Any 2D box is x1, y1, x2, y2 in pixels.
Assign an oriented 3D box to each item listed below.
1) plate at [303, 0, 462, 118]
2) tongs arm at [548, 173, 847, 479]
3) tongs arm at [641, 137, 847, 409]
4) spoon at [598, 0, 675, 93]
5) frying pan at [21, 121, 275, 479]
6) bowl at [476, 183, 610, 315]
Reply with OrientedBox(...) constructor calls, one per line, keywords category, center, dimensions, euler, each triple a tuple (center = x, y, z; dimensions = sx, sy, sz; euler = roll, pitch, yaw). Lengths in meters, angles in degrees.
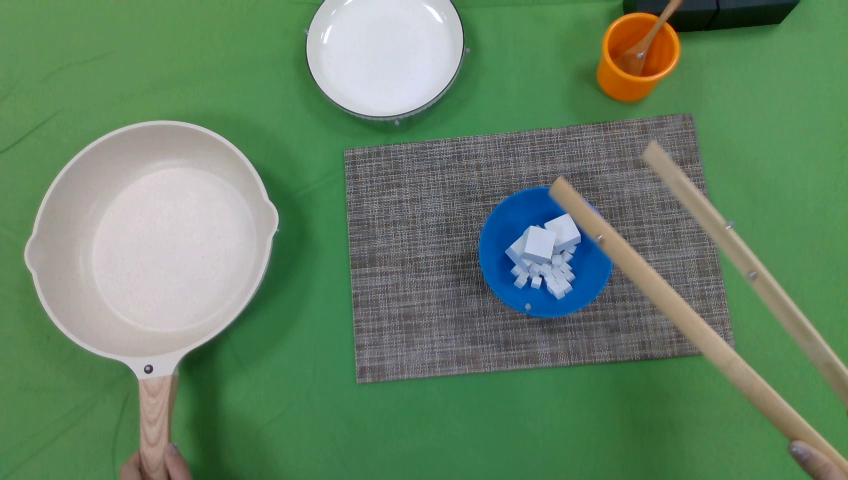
OrientedBox(category="plate", center=(-0.054, -0.255, 0.800), dimensions=(0.207, 0.039, 0.206), euler=(-1, 78, 3))
OrientedBox(category="tongs arm", center=(0.245, 0.080, 0.518), dimensions=(0.028, 0.028, 0.385), euler=(-29, 68, -35))
OrientedBox(category="tongs arm", center=(0.305, 0.055, 0.551), dimensions=(0.051, 0.027, 0.381), euler=(-19, 64, -27))
OrientedBox(category="spoon", center=(0.277, -0.262, 0.727), dimensions=(0.041, 0.194, 0.021), euler=(43, 39, 14))
OrientedBox(category="frying pan", center=(-0.313, 0.098, 0.708), dimensions=(0.307, 0.103, 0.484), euler=(-8, 70, 2))
OrientedBox(category="bowl", center=(0.135, 0.017, 0.709), dimensions=(0.151, 0.077, 0.150), euler=(-1, 78, 3))
